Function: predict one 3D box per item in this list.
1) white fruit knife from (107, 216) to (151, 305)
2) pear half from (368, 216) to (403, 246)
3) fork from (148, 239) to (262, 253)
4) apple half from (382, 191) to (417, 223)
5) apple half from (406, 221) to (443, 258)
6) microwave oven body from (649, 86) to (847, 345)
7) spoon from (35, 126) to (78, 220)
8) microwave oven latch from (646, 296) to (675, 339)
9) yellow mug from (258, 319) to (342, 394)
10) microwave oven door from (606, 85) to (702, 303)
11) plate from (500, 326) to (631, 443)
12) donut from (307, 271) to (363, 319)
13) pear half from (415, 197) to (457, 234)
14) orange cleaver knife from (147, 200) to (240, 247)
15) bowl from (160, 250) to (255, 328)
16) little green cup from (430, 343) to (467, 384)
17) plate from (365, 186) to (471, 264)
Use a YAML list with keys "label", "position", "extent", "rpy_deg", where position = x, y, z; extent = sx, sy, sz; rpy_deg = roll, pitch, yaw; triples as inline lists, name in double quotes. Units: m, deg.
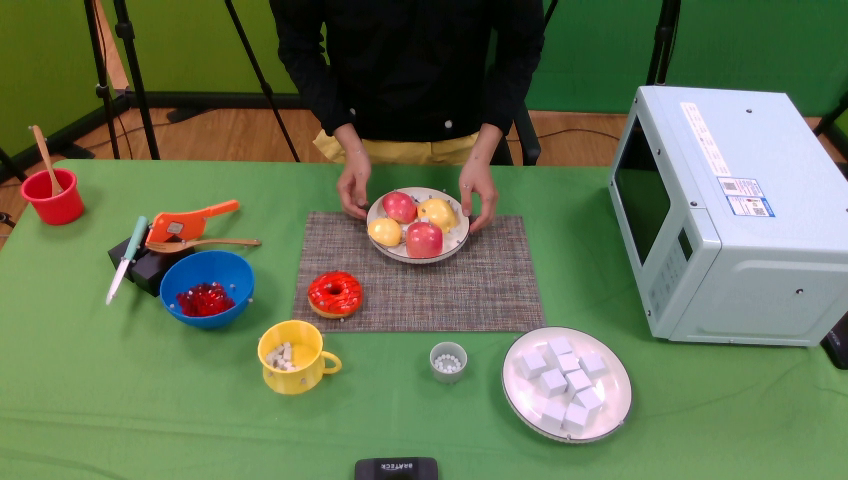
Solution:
- label: "white fruit knife"
  position: [-0.518, 0.032, 1.066]
  extent: [0.027, 0.016, 0.206]
  rpy_deg: [-19, 45, 19]
- label: "pear half"
  position: [-0.070, -0.026, 1.183]
  extent: [0.070, 0.031, 0.087]
  rpy_deg: [32, 46, -2]
- label: "fork"
  position: [-0.398, 0.008, 1.117]
  extent: [0.208, 0.019, 0.028]
  rpy_deg: [-5, 34, -37]
- label: "apple half"
  position: [-0.043, -0.072, 1.225]
  extent: [0.081, 0.033, 0.081]
  rpy_deg: [18, 42, -18]
- label: "apple half"
  position: [0.001, -0.006, 1.164]
  extent: [0.075, 0.053, 0.080]
  rpy_deg: [5, 42, 0]
- label: "microwave oven body"
  position: [0.567, -0.053, 1.118]
  extent: [0.326, 0.261, 0.439]
  rpy_deg: [2, 45, -1]
- label: "spoon"
  position: [-0.725, -0.132, 1.188]
  extent: [0.041, 0.021, 0.194]
  rpy_deg: [-18, 95, -19]
- label: "microwave oven latch"
  position: [0.412, 0.134, 1.061]
  extent: [0.030, 0.029, 0.078]
  rpy_deg: [4, 45, 1]
- label: "yellow mug"
  position: [-0.196, 0.189, 0.972]
  extent: [0.131, 0.064, 0.099]
  rpy_deg: [9, 46, 4]
- label: "microwave oven door"
  position: [0.423, -0.094, 1.140]
  extent: [0.039, 0.245, 0.353]
  rpy_deg: [2, 46, -1]
- label: "plate"
  position: [0.224, 0.233, 0.978]
  extent: [0.208, 0.039, 0.206]
  rpy_deg: [2, 46, -2]
- label: "donut"
  position: [-0.157, 0.097, 1.072]
  extent: [0.099, 0.048, 0.098]
  rpy_deg: [4, 45, -4]
- label: "pear half"
  position: [0.016, -0.066, 1.227]
  extent: [0.076, 0.056, 0.109]
  rpy_deg: [-27, 53, -32]
- label: "orange cleaver knife"
  position: [-0.435, -0.033, 1.157]
  extent: [0.012, 0.077, 0.211]
  rpy_deg: [31, 26, 18]
- label: "bowl"
  position: [-0.362, 0.097, 1.040]
  extent: [0.151, 0.077, 0.150]
  rpy_deg: [2, 45, -2]
- label: "little green cup"
  position: [0.039, 0.203, 0.993]
  extent: [0.061, 0.039, 0.061]
  rpy_deg: [2, 46, -2]
- label: "plate"
  position: [-0.013, -0.027, 1.207]
  extent: [0.209, 0.038, 0.208]
  rpy_deg: [2, 46, -2]
